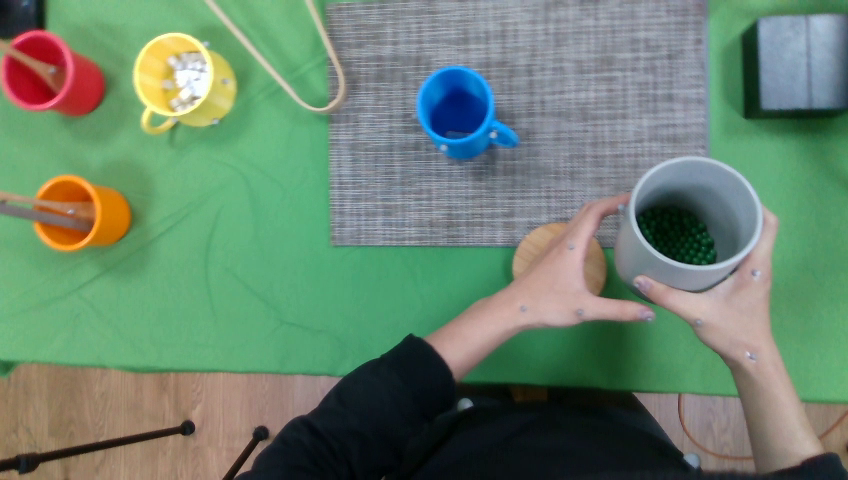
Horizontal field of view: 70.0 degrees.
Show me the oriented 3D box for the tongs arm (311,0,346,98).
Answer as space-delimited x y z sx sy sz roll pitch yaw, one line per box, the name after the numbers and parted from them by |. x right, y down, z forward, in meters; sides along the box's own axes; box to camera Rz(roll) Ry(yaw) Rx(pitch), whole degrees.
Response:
-0.176 -0.357 0.728 0.028 0.027 0.388 -25 94 -2 | tongs arm

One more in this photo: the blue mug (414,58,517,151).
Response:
0.052 -0.142 0.683 0.116 0.106 0.082 26 93 6 | blue mug

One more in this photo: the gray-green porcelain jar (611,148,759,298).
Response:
0.233 -0.009 0.561 0.106 0.127 0.105 -3 68 8 | gray-green porcelain jar

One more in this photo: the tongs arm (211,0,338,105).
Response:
-0.246 -0.310 0.734 0.051 0.026 0.385 -38 93 2 | tongs arm

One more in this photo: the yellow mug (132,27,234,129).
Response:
-0.305 -0.191 0.748 0.100 0.064 0.131 39 96 4 | yellow mug

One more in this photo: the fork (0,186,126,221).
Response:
-0.471 -0.052 0.726 0.209 0.018 0.028 12 91 -37 | fork

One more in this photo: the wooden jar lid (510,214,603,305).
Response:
0.156 0.023 0.718 0.108 0.021 0.108 1 94 8 | wooden jar lid

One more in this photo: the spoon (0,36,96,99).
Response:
-0.497 -0.234 0.731 0.196 0.021 0.041 32 94 -38 | spoon

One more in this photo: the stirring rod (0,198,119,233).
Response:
-0.462 -0.034 0.728 0.006 0.178 0.014 -9 71 50 | stirring rod
